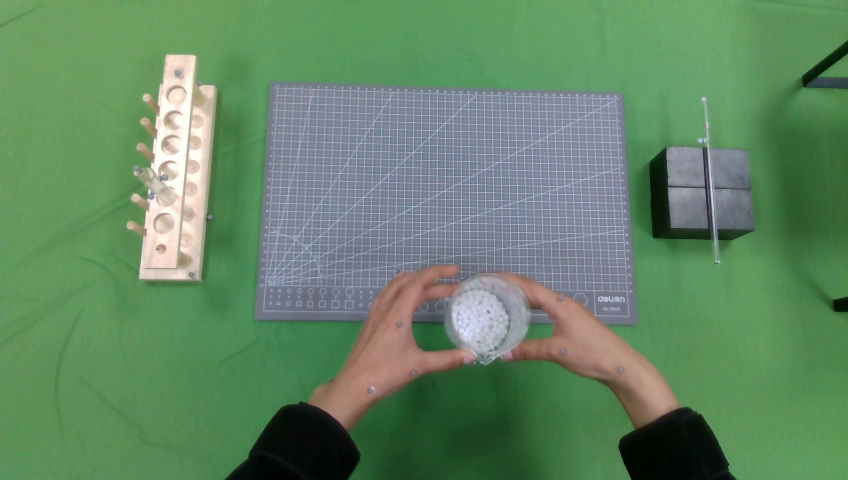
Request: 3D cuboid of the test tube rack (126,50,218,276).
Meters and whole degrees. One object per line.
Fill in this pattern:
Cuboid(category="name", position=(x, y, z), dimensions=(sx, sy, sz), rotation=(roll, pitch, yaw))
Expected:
Cuboid(category="test tube rack", position=(-0.290, -0.085, 0.689), dimensions=(0.067, 0.085, 0.241), rotation=(1, 78, -2))

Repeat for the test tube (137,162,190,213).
Cuboid(category="test tube", position=(-0.268, -0.051, 0.632), dimensions=(0.017, 0.150, 0.017), rotation=(2, 79, -8))

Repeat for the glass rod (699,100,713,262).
Cuboid(category="glass rod", position=(0.332, -0.072, 0.713), dimensions=(0.008, 0.008, 0.199), rotation=(3, 78, -2))

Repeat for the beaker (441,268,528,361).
Cuboid(category="beaker", position=(0.054, 0.076, 0.589), dimensions=(0.074, 0.100, 0.083), rotation=(6, 78, -2))
